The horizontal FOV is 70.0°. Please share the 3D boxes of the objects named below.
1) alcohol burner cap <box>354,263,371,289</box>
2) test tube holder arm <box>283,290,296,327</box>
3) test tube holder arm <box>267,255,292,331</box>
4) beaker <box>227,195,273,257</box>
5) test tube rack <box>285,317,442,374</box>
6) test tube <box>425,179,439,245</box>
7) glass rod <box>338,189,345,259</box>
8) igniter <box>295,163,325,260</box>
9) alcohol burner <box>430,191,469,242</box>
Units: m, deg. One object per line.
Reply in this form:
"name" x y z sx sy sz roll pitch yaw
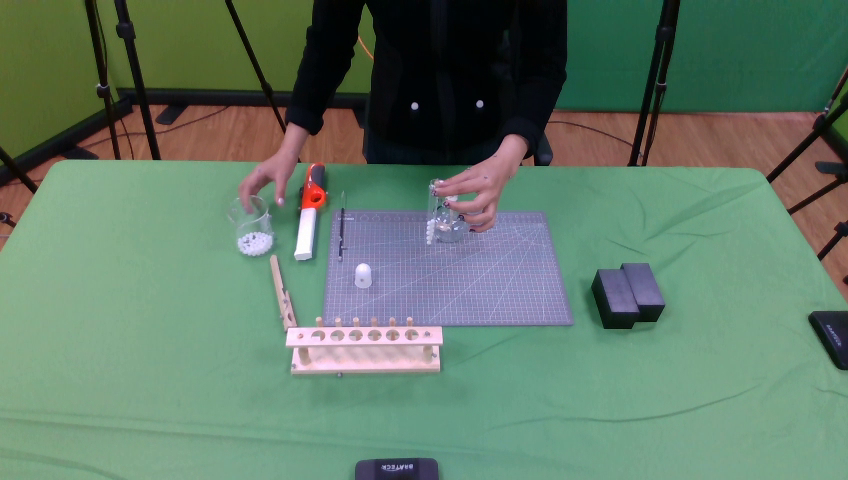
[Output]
"alcohol burner cap" -0.113 0.063 1.111 0.034 0.048 0.033 2 45 -2
"test tube holder arm" -0.241 0.123 1.067 0.010 0.015 0.087 16 34 -38
"test tube holder arm" -0.261 0.091 1.092 0.013 0.015 0.177 15 34 -39
"beaker" -0.326 -0.022 1.142 0.074 0.101 0.083 10 47 6
"test tube rack" -0.095 0.166 0.988 0.242 0.085 0.066 0 46 -4
"test tube" 0.013 -0.044 1.023 0.017 0.151 0.017 2 48 -2
"glass rod" -0.166 -0.036 1.227 0.008 0.008 0.198 0 46 -4
"igniter" -0.234 -0.067 1.243 0.057 0.025 0.274 -6 46 4
"alcohol burner" 0.052 -0.053 1.185 0.078 0.119 0.077 2 48 -2
